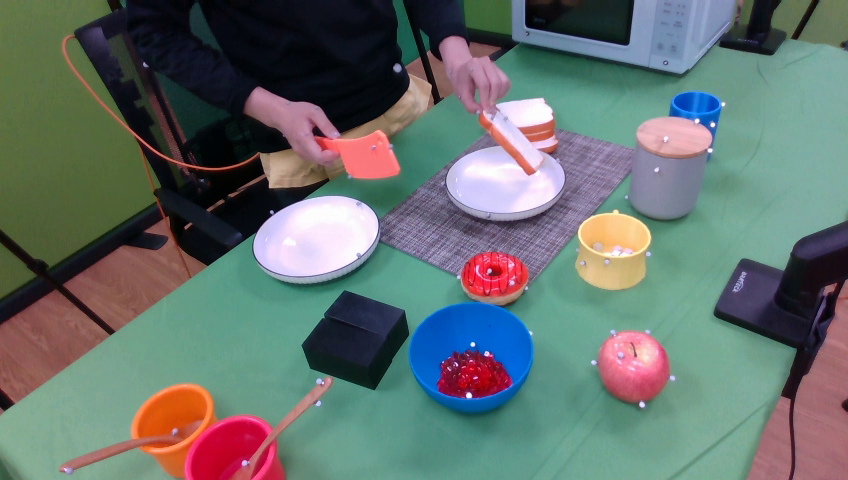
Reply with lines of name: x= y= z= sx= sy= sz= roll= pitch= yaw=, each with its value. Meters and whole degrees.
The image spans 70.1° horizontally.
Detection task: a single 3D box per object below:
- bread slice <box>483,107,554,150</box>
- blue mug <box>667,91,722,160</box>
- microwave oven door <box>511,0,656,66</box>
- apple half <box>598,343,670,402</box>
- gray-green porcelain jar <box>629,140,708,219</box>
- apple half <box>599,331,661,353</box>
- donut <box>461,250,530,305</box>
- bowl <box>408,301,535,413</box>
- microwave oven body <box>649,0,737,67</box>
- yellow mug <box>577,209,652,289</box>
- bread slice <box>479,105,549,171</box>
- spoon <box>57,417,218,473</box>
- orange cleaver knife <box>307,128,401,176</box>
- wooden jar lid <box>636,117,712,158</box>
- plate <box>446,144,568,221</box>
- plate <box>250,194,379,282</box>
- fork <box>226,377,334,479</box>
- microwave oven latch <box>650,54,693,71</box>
bread slice: x=0.186 y=-0.203 z=1.161 sx=0.105 sy=0.019 sz=0.130 roll=-22 pitch=44 yaw=-6
blue mug: x=0.474 y=-0.207 z=1.079 sx=0.082 sy=0.106 sz=0.116 roll=4 pitch=42 yaw=13
microwave oven door: x=0.351 y=-0.540 z=1.349 sx=0.353 sy=0.245 sz=0.039 roll=24 pitch=50 yaw=31
apple half: x=0.247 y=0.161 z=0.710 sx=0.081 sy=0.075 sz=0.053 roll=2 pitch=47 yaw=5
gray-green porcelain jar: x=0.383 y=-0.105 z=0.958 sx=0.106 sy=0.127 sz=0.105 roll=-4 pitch=41 yaw=4
apple half: x=0.249 y=0.134 z=0.738 sx=0.081 sy=0.081 sz=0.032 roll=-2 pitch=46 yaw=7
donut: x=0.103 y=0.053 z=0.872 sx=0.099 sy=0.048 sz=0.098 roll=-5 pitch=40 yaw=4
bowl: x=0.059 y=0.156 z=0.739 sx=0.151 sy=0.077 sz=0.150 roll=-4 pitch=40 yaw=4
microwave oven body: x=0.475 y=-0.602 z=1.411 sx=0.438 sy=0.261 sz=0.327 roll=23 pitch=50 yaw=32
yellow mug: x=0.279 y=0.004 z=0.893 sx=0.099 sy=0.064 sz=0.130 roll=5 pitch=41 yaw=15
bread slice: x=0.147 y=-0.171 z=0.998 sx=0.134 sy=0.018 sz=0.107 roll=42 pitch=27 yaw=-2
spoon: x=-0.304 y=0.221 z=0.661 sx=0.041 sy=0.195 sz=0.021 roll=19 pitch=92 yaw=27
orange cleaver knife: x=-0.111 y=-0.135 z=0.934 sx=0.209 sy=0.077 sz=0.012 roll=10 pitch=34 yaw=45
wooden jar lid: x=0.377 y=-0.151 z=0.917 sx=0.108 sy=0.021 sz=0.108 roll=-2 pitch=42 yaw=3
plate: x=0.142 y=-0.096 z=1.045 sx=0.207 sy=0.039 sz=0.206 roll=-4 pitch=40 yaw=4
plate: x=-0.174 y=-0.001 z=0.984 sx=0.209 sy=0.038 sz=0.208 roll=-3 pitch=40 yaw=3
fork: x=-0.163 y=0.216 z=0.647 sx=0.207 sy=0.019 sz=0.028 roll=-49 pitch=41 yaw=16
microwave oven latch: x=0.531 y=-0.386 z=1.301 sx=0.078 sy=0.029 sz=0.030 roll=26 pitch=51 yaw=33
